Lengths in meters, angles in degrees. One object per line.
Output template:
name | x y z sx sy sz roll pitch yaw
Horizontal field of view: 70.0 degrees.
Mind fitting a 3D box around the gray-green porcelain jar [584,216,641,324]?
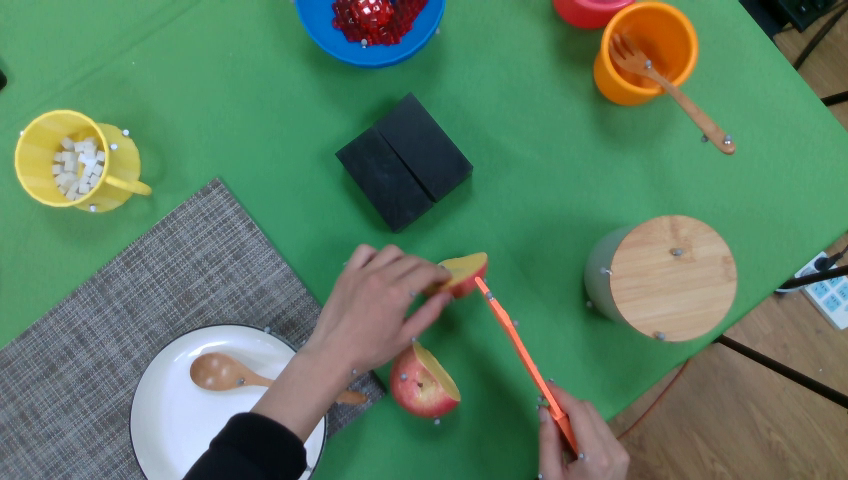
gray-green porcelain jar | 0.216 0.029 0.587 0.106 0.126 0.106 0 89 3

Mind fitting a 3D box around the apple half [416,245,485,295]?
apple half | 0.030 0.039 0.612 0.081 0.081 0.033 -28 103 2

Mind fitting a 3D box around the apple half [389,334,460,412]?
apple half | -0.006 0.143 0.623 0.053 0.074 0.081 -41 91 5

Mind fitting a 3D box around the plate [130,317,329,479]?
plate | -0.203 0.185 0.644 0.209 0.038 0.209 0 90 2

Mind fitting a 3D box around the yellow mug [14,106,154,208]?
yellow mug | -0.350 -0.080 0.642 0.131 0.064 0.100 23 90 2

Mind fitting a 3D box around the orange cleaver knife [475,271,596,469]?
orange cleaver knife | 0.101 0.119 0.550 0.012 0.076 0.213 -31 109 0

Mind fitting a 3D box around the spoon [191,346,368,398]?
spoon | -0.152 0.144 0.629 0.193 0.022 0.041 8 84 14

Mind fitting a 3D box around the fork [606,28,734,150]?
fork | 0.229 -0.148 0.575 0.028 0.019 0.205 -22 45 1

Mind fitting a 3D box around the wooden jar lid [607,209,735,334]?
wooden jar lid | 0.212 0.027 0.525 0.108 0.020 0.108 0 91 1

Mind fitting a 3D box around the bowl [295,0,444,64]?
bowl | -0.051 -0.248 0.624 0.151 0.077 0.151 0 90 3
